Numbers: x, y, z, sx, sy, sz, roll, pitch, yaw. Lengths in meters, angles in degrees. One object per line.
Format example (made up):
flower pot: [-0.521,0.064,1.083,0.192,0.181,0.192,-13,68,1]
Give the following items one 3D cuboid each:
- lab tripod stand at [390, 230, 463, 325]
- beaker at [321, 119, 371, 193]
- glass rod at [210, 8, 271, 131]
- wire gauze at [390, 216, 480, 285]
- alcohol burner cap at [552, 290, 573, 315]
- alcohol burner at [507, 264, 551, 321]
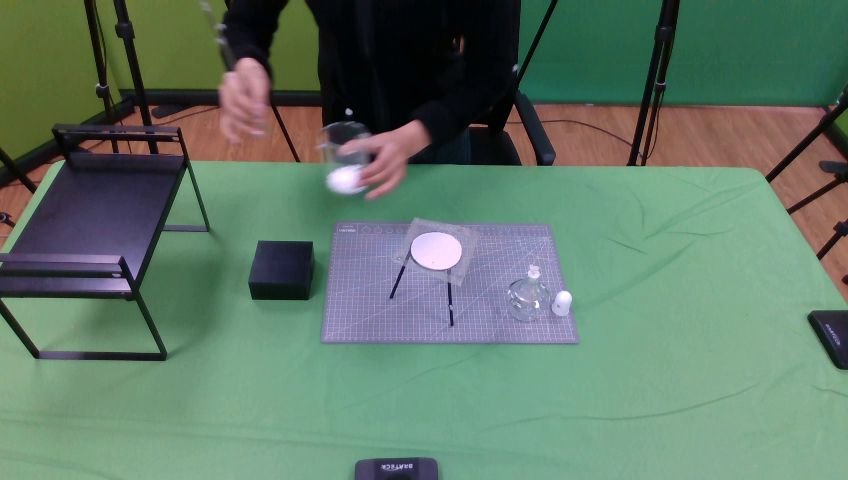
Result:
lab tripod stand: [0.014,0.060,1.056,0.148,0.132,0.147,1,48,-1]
beaker: [-0.122,-0.132,0.978,0.074,0.101,0.083,-15,45,-16]
glass rod: [-0.259,-0.236,0.865,0.008,0.201,0.008,-8,46,9]
wire gauze: [0.020,0.012,1.009,0.125,0.011,0.121,16,48,12]
alcohol burner cap: [0.251,0.109,1.088,0.034,0.048,0.033,3,47,-2]
alcohol burner: [0.185,0.086,1.057,0.078,0.120,0.077,0,47,0]
